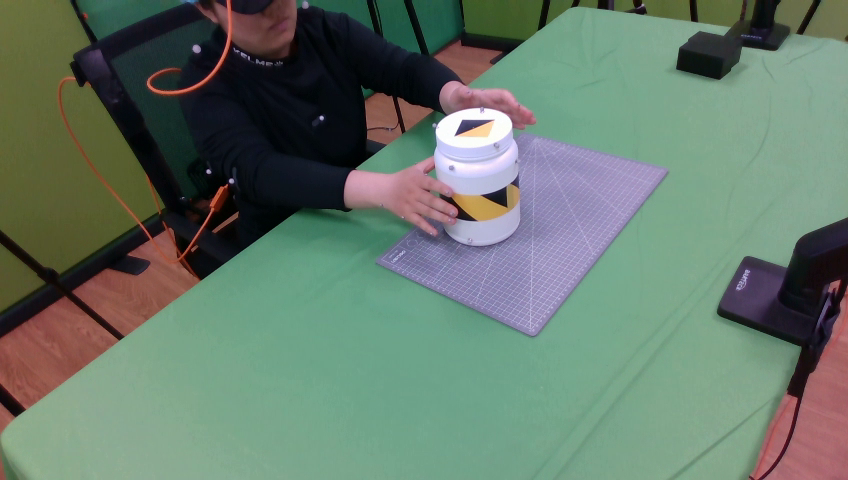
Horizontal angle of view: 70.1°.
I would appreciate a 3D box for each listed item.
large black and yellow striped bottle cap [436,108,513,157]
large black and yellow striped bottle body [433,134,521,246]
[{"bbox_3d":[0.075,-0.162,0.898,0.115,0.019,0.114,-5,41,5],"label":"large black and yellow striped bottle cap"},{"bbox_3d":[0.085,-0.097,0.951,0.131,0.185,0.130,-5,40,5],"label":"large black and yellow striped bottle body"}]
